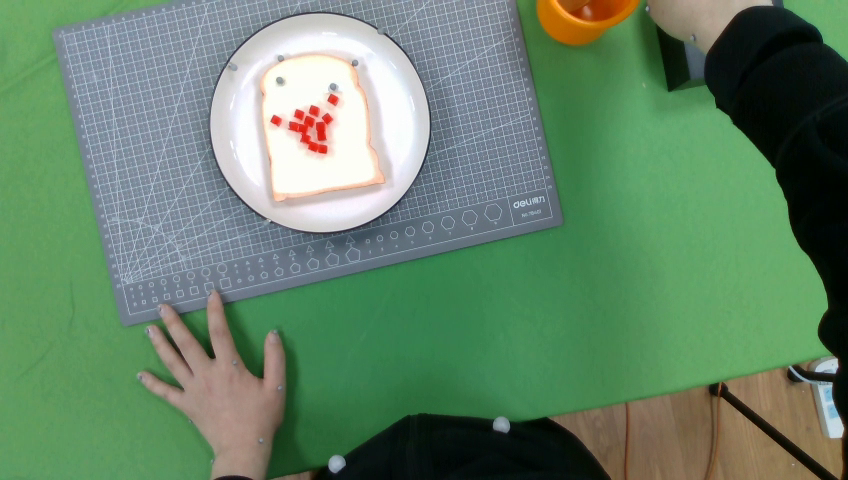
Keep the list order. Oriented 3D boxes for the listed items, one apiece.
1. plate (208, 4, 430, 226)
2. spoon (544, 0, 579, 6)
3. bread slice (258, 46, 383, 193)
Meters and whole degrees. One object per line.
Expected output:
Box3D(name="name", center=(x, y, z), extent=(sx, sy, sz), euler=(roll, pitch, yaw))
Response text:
Box3D(name="plate", center=(-0.098, -0.117, 0.583), extent=(0.209, 0.038, 0.209), euler=(0, 91, -2))
Box3D(name="spoon", center=(0.187, -0.238, 0.536), extent=(0.022, 0.192, 0.041), euler=(15, 86, -45))
Box3D(name="bread slice", center=(-0.106, -0.117, 0.583), extent=(0.107, 0.018, 0.134), euler=(-13, 91, -2))
